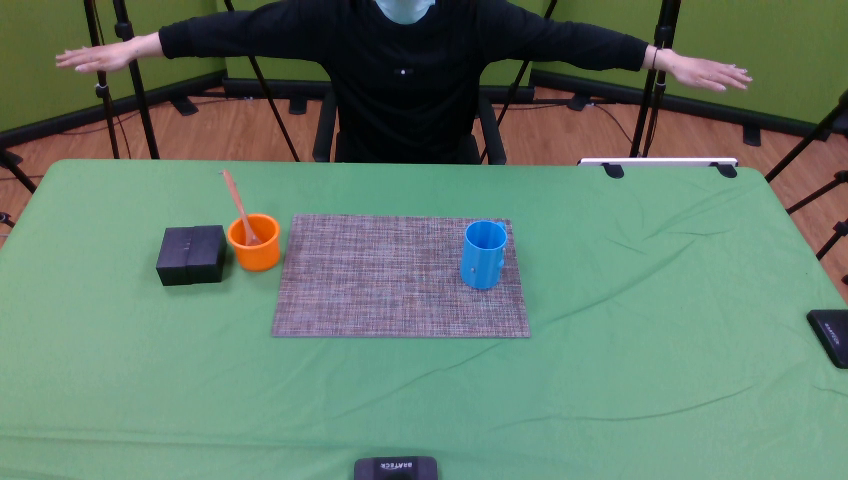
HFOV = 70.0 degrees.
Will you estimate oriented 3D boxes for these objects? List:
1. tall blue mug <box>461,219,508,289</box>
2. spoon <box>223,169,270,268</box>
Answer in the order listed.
[{"bbox_3d":[0.111,0.016,1.122,0.078,0.108,0.106,6,46,4],"label":"tall blue mug"},{"bbox_3d":[-0.333,-0.040,1.124,0.041,0.194,0.021,-20,7,-17],"label":"spoon"}]
